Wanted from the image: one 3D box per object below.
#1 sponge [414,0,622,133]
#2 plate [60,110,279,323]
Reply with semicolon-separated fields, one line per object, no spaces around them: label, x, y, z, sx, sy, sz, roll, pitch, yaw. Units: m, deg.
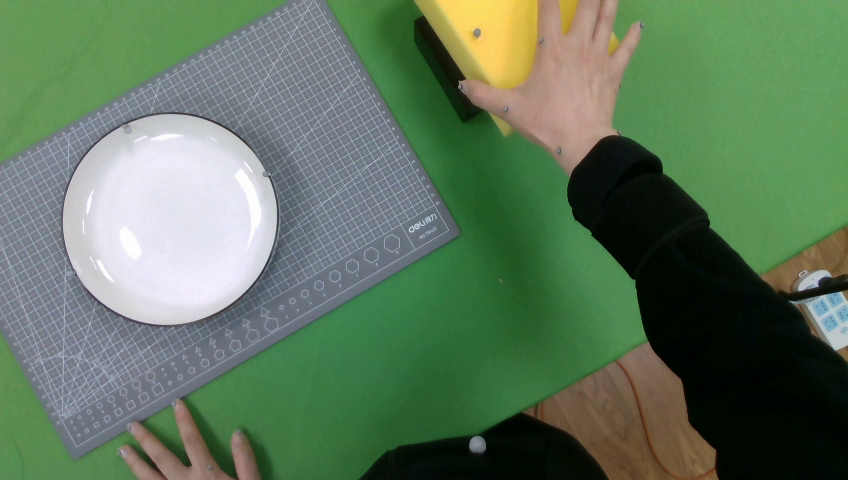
sponge;0.070;-0.220;0.559;0.118;0.061;0.206;-34;88;-3
plate;-0.245;-0.022;0.600;0.209;0.038;0.208;0;87;-2
